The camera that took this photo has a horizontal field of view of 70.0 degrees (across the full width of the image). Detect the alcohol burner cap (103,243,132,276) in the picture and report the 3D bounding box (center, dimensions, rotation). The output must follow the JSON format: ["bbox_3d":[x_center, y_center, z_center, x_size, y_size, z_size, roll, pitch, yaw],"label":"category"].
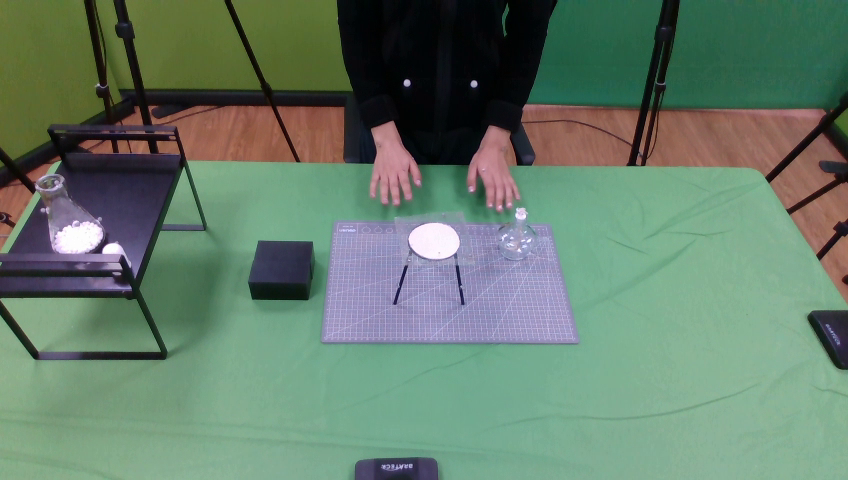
[{"bbox_3d":[-0.446,0.025,0.875,0.034,0.048,0.033,3,45,-3],"label":"alcohol burner cap"}]

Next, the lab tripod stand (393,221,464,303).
[{"bbox_3d":[0.010,0.045,1.074,0.148,0.132,0.147,2,48,-2],"label":"lab tripod stand"}]

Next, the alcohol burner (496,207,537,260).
[{"bbox_3d":[0.180,-0.018,1.162,0.078,0.120,0.077,1,48,-1],"label":"alcohol burner"}]

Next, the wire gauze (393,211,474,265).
[{"bbox_3d":[0.015,-0.003,1.028,0.125,0.011,0.120,-4,47,-7],"label":"wire gauze"}]

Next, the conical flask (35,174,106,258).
[{"bbox_3d":[-0.518,-0.038,0.875,0.075,0.122,0.075,2,46,-2],"label":"conical flask"}]
